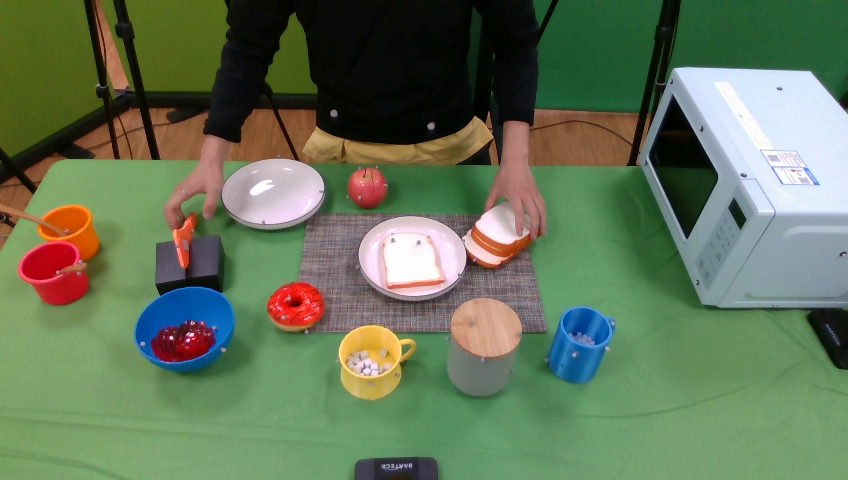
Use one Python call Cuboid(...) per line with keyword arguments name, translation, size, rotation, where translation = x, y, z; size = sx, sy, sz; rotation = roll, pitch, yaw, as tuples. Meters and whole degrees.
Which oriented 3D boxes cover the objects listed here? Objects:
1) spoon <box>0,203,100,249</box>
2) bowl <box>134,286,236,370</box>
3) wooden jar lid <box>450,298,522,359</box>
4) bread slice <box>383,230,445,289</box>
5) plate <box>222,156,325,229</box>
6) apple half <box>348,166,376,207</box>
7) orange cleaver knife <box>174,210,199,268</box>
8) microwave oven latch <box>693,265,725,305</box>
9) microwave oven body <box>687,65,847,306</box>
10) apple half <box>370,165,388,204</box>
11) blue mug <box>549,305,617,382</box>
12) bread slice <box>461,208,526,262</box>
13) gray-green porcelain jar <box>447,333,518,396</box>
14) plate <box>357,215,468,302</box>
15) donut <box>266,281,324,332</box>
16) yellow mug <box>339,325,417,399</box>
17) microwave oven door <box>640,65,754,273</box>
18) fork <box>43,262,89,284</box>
Cuboid(name="spoon", translation=(-0.683, -0.031, 1.088), size=(0.195, 0.021, 0.041), rotation=(33, 33, -38))
Cuboid(name="bowl", translation=(-0.377, 0.156, 0.981), size=(0.151, 0.077, 0.150), rotation=(2, 46, -2))
Cuboid(name="wooden jar lid", translation=(0.093, 0.135, 0.914), size=(0.108, 0.021, 0.107), rotation=(3, 48, -3))
Cuboid(name="bread slice", translation=(-0.028, 0.035, 1.145), size=(0.107, 0.018, 0.133), rotation=(-7, 49, -11))
Cuboid(name="plate", translation=(-0.308, -0.095, 1.251), size=(0.209, 0.038, 0.208), rotation=(3, 47, -3))
Cuboid(name="apple half", translation=(-0.129, -0.109, 1.254), size=(0.053, 0.075, 0.080), rotation=(-11, 50, -5))
Cuboid(name="orange cleaver knife", translation=(-0.435, -0.006, 1.127), size=(0.012, 0.077, 0.210), rotation=(-12, 19, -8))
Cuboid(name="microwave oven latch", translation=(0.522, 0.081, 1.115), size=(0.030, 0.029, 0.078), rotation=(2, 46, -1))
Cuboid(name="microwave oven body", translation=(0.669, -0.111, 1.176), size=(0.326, 0.261, 0.439), rotation=(0, 46, -3))
Cuboid(name="apple half", translation=(-0.091, -0.115, 1.261), size=(0.033, 0.082, 0.080), rotation=(-9, 48, -6))
Cuboid(name="blue mug", translation=(0.269, 0.166, 0.998), size=(0.116, 0.106, 0.082), rotation=(-19, 51, -21))
Cuboid(name="bread slice", translation=(0.127, -0.008, 1.194), size=(0.104, 0.019, 0.131), rotation=(20, 49, 25))
Cuboid(name="gray-green porcelain jar", translation=(0.091, 0.178, 0.960), size=(0.106, 0.127, 0.105), rotation=(2, 46, -2))
Cuboid(name="plate", translation=(-0.022, 0.037, 1.141), size=(0.208, 0.039, 0.206), rotation=(2, 46, -2))
Cuboid(name="donut", translation=(-0.222, 0.115, 1.049), size=(0.099, 0.048, 0.098), rotation=(2, 46, -2))
Cuboid(name="yellow mug", translation=(-0.072, 0.190, 0.978), size=(0.131, 0.064, 0.099), rotation=(-17, 50, -20))
Cuboid(name="microwave oven door", translation=(0.522, -0.147, 1.193), size=(0.039, 0.245, 0.353), rotation=(0, 47, -3))
Cuboid(name="fork", translation=(-0.599, 0.053, 1.013), size=(0.207, 0.019, 0.028), rotation=(-14, 30, 45))
